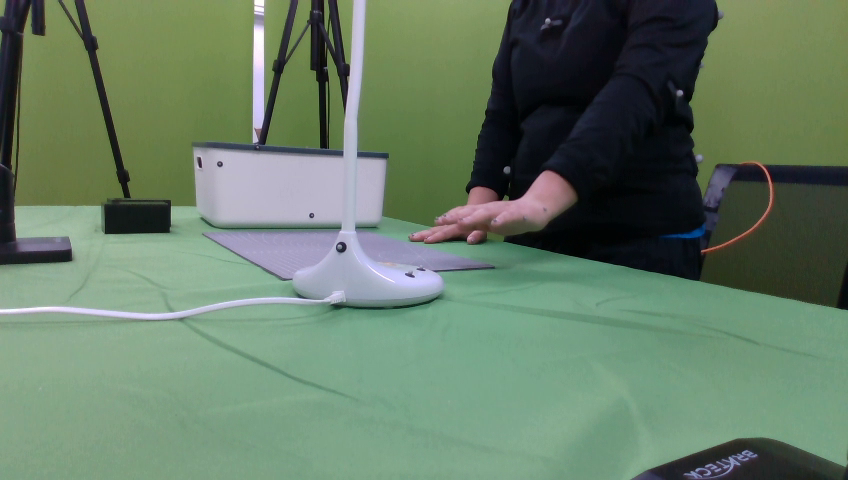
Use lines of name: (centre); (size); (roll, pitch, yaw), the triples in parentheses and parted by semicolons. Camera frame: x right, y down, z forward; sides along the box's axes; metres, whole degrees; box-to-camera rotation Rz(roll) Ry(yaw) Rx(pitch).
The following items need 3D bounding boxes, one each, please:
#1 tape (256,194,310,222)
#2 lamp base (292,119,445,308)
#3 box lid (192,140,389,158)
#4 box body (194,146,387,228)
tape: (-0.301, -0.069, 1.294); (0.117, 0.052, 0.117); (2, 7, 0)
lamp base: (-0.056, -0.030, 0.616); (0.160, 0.180, 0.179); (3, 10, 8)
box lid: (-0.287, -0.190, 1.281); (0.373, 0.015, 0.262); (0, 8, -28)
box body: (-0.288, -0.118, 1.291); (0.366, 0.160, 0.253); (-1, 8, -28)
